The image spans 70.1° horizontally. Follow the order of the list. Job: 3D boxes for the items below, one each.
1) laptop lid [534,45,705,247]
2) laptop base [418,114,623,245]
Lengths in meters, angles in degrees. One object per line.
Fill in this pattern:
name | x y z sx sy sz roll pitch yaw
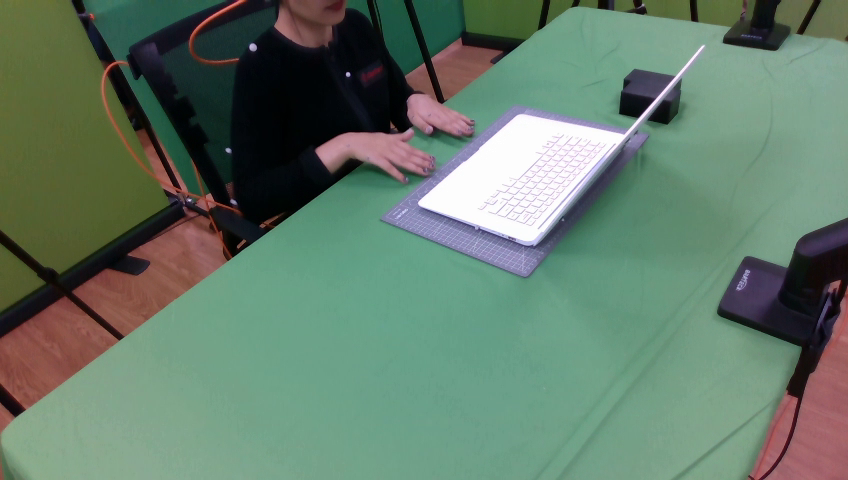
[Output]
laptop lid | 0.305 -0.146 0.938 0.013 0.241 0.357 40 54 9
laptop base | 0.183 -0.122 1.094 0.233 0.023 0.355 19 47 34
